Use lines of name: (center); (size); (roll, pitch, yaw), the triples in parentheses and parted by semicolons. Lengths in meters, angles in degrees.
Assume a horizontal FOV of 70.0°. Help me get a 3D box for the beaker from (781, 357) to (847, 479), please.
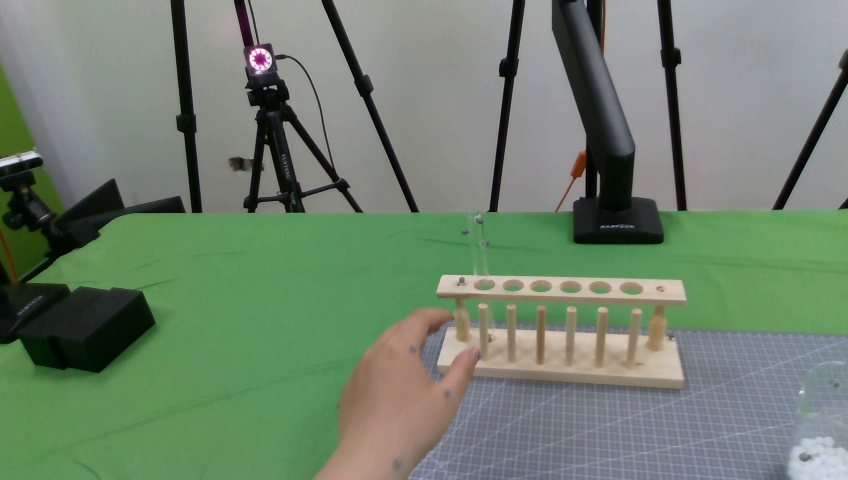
beaker: (0.314, 0.152, 0.458); (0.084, 0.101, 0.073); (-9, 29, -2)

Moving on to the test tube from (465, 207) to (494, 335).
test tube: (0.058, 0.036, 0.629); (0.017, 0.151, 0.017); (-7, 27, 4)

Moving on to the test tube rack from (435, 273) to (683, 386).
test tube rack: (0.133, 0.089, 0.622); (0.242, 0.086, 0.066); (0, 31, 13)
